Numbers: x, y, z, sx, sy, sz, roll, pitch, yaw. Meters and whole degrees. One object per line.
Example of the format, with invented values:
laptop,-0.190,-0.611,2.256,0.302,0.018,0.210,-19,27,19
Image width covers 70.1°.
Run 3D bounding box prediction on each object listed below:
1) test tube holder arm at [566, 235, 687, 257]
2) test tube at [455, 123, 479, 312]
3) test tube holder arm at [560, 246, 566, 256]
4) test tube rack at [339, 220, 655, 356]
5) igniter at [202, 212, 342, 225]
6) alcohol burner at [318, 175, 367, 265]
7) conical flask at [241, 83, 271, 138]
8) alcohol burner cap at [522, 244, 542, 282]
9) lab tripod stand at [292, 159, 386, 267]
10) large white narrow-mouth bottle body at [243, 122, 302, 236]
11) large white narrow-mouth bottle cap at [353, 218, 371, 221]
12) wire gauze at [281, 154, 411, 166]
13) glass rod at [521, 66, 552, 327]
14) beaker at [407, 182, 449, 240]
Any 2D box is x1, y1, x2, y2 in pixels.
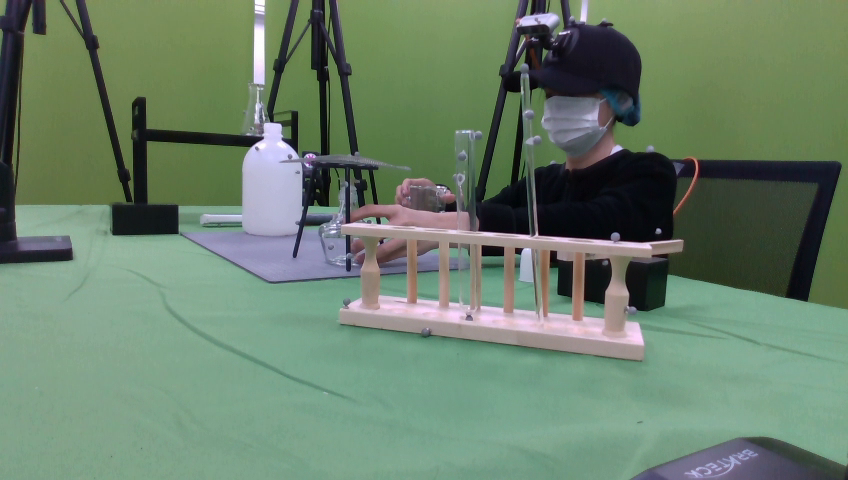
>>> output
test tube holder arm,0.215,0.006,0.629,0.179,0.015,0.013,-3,9,-30
test tube,0.034,-0.016,0.476,0.017,0.150,0.017,-2,10,1
test tube holder arm,0.173,0.007,0.611,0.088,0.015,0.010,-3,9,-30
test tube rack,0.056,0.032,0.495,0.242,0.085,0.067,4,7,15
igniter,-0.298,-0.043,1.216,0.278,0.025,0.057,-3,-2,-32
alcohol burner,-0.100,-0.028,0.789,0.078,0.119,0.078,0,6,0
conical flask,-0.384,-0.297,1.393,0.075,0.122,0.075,2,7,0
alcohol burner cap,0.136,0.026,0.740,0.034,0.048,0.034,1,6,0
lab tripod stand,-0.105,-0.039,0.797,0.148,0.131,0.148,2,5,0
large white narrow-mouth bottle body,-0.264,-0.109,1.061,0.102,0.194,0.102,2,8,0
large white narrow-mouth bottle cap,-0.121,-0.029,1.184,0.038,0.024,0.037,2,8,0
wire gauze,-0.102,-0.105,0.785,0.121,0.011,0.126,7,8,43
glass rod,0.085,-0.028,0.454,0.008,0.199,0.008,-7,10,2
beaker,0.008,-0.053,1.102,0.074,0.100,0.083,-6,13,-44
